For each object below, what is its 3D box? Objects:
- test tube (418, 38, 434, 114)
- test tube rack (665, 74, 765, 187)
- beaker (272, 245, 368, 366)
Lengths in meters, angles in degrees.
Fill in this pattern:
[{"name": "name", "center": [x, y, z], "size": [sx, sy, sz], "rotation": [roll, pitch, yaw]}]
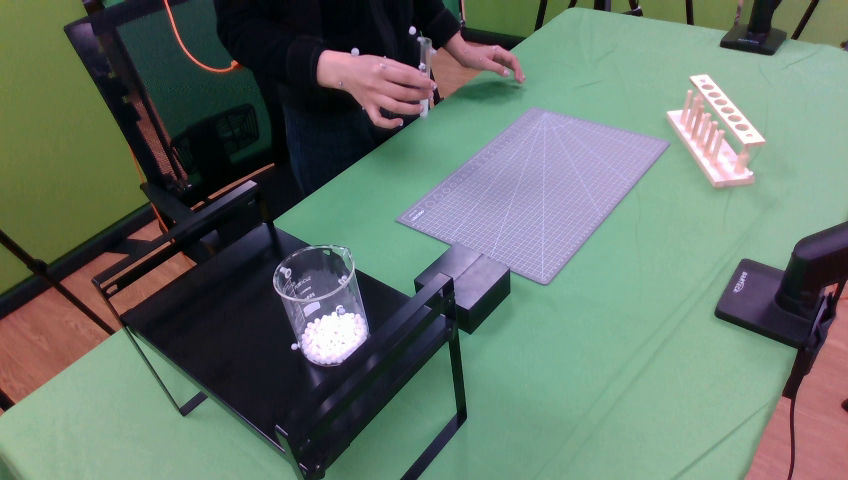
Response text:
[{"name": "test tube", "center": [0.002, -0.243, 0.912], "size": [0.017, 0.150, 0.017], "rotation": [2, 61, -3]}, {"name": "test tube rack", "center": [0.512, -0.202, 1.082], "size": [0.067, 0.085, 0.241], "rotation": [-5, 41, 2]}, {"name": "beaker", "center": [-0.093, 0.064, 0.578], "size": [0.073, 0.101, 0.084], "rotation": [21, 48, 29]}]
